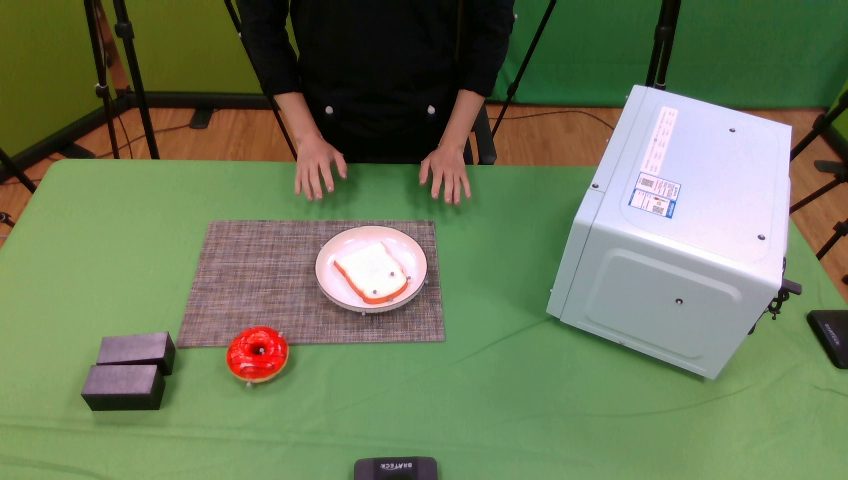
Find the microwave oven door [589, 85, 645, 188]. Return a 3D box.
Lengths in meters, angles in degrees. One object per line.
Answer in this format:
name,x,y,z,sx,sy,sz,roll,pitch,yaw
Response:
microwave oven door,0.342,-0.107,1.149,0.039,0.245,0.354,20,48,15

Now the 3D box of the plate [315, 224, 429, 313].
plate,-0.096,0.055,1.121,0.208,0.039,0.206,2,46,-2

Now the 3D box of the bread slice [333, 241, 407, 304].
bread slice,-0.092,0.060,1.117,0.105,0.019,0.130,-24,52,-24

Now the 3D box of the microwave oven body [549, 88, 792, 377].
microwave oven body,0.456,-0.028,1.088,0.325,0.261,0.440,20,47,16

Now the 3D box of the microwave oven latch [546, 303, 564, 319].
microwave oven latch,0.242,0.102,1.081,0.030,0.029,0.079,21,48,17

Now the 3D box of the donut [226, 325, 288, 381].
donut,-0.270,0.182,0.984,0.099,0.048,0.098,5,49,-5
